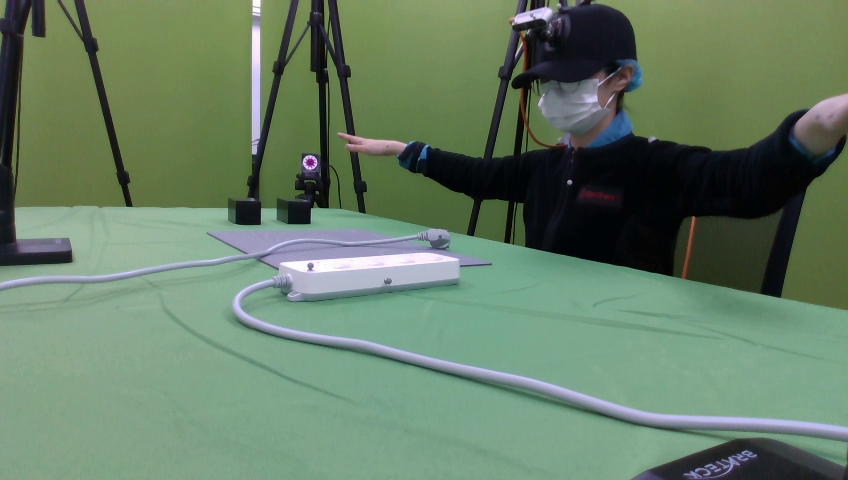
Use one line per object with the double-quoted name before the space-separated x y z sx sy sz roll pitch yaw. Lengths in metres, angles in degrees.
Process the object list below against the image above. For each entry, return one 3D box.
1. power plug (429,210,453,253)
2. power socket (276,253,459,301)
"power plug" 0.024 -0.014 0.983 0.035 0.072 0.053 16 53 20
"power socket" -0.056 0.037 0.674 0.228 0.032 0.072 -3 8 -38
